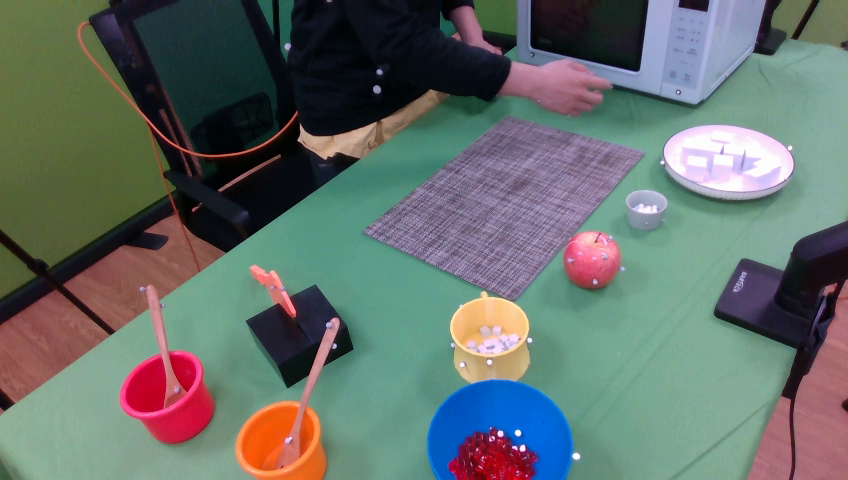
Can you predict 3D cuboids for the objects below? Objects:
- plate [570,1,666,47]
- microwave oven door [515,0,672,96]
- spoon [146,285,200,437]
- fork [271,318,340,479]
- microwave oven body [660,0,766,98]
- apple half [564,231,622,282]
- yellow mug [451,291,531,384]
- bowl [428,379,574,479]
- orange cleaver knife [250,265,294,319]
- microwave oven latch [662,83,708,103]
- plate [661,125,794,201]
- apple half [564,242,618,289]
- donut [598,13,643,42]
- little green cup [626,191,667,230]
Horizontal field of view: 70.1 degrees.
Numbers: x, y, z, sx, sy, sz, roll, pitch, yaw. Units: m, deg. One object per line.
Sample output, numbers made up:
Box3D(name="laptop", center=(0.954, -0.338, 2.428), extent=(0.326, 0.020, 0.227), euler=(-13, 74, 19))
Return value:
Box3D(name="plate", center=(0.437, -0.485, 1.370), extent=(0.209, 0.038, 0.208), euler=(-4, 41, 4))
Box3D(name="microwave oven door", center=(0.343, -0.454, 1.259), extent=(0.353, 0.245, 0.039), euler=(26, 51, 33))
Box3D(name="spoon", center=(-0.319, 0.148, 0.754), extent=(0.042, 0.021, 0.193), euler=(-14, 85, -12))
Box3D(name="fork", center=(-0.132, 0.186, 0.676), extent=(0.028, 0.019, 0.207), euler=(17, 90, 28))
Box3D(name="microwave oven body", center=(0.472, -0.513, 1.317), extent=(0.438, 0.261, 0.327), euler=(26, 51, 34))
Box3D(name="apple half", center=(0.248, 0.021, 0.874), extent=(0.080, 0.075, 0.053), euler=(13, 40, 29))
Box3D(name="yellow mug", center=(0.085, 0.120, 0.786), extent=(0.100, 0.064, 0.130), euler=(-7, 39, 1))
Box3D(name="bowl", center=(0.082, 0.233, 0.644), extent=(0.151, 0.077, 0.150), euler=(-4, 39, 4))
Box3D(name="orange cleaver knife", center=(-0.222, 0.073, 0.876), extent=(0.012, 0.077, 0.210), euler=(-24, 13, -22))
Box3D(name="microwave oven latch", center=(0.519, -0.297, 1.204), extent=(0.030, 0.029, 0.078), euler=(-37, 47, -29))
Box3D(name="plate", center=(0.513, -0.128, 1.035), extent=(0.207, 0.039, 0.206), euler=(-4, 40, 4))
Box3D(name="apple half", center=(0.229, 0.044, 0.848), extent=(0.081, 0.081, 0.033), euler=(16, 41, 26))
Box3D(name="donut", center=(0.438, -0.474, 1.346), extent=(0.099, 0.048, 0.098), euler=(-17, 22, 8))
Box3D(name="little green cup", center=(0.352, -0.046, 0.963), extent=(0.061, 0.039, 0.061), euler=(-4, 40, 4))
